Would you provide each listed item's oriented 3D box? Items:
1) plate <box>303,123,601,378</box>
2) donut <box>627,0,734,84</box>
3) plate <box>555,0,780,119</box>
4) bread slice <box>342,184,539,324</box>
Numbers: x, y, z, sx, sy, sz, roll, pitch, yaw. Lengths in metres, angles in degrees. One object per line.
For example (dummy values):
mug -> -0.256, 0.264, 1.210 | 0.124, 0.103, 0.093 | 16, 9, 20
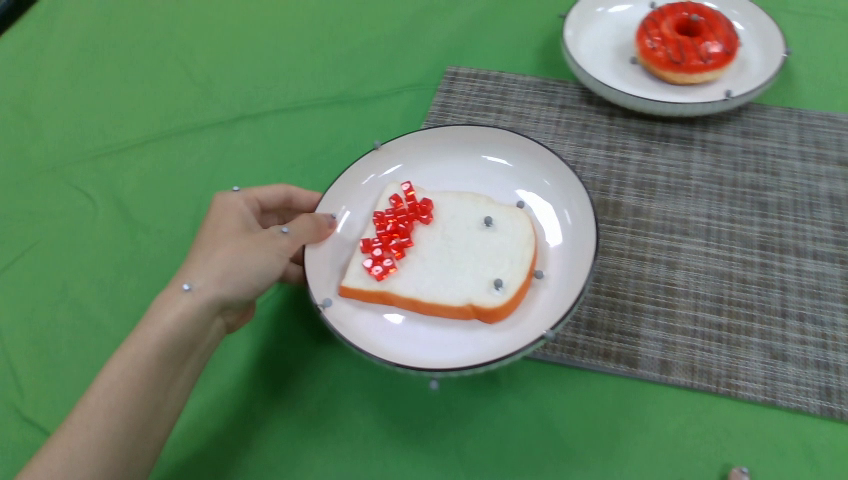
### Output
plate -> 0.019, 0.003, 0.434 | 0.209, 0.038, 0.207 | -5, 55, 8
donut -> 0.246, -0.190, 0.584 | 0.099, 0.049, 0.098 | -2, 55, 3
plate -> 0.233, -0.186, 0.597 | 0.207, 0.039, 0.205 | -2, 53, 3
bread slice -> 0.016, 0.007, 0.436 | 0.131, 0.019, 0.104 | 9, 58, 19
